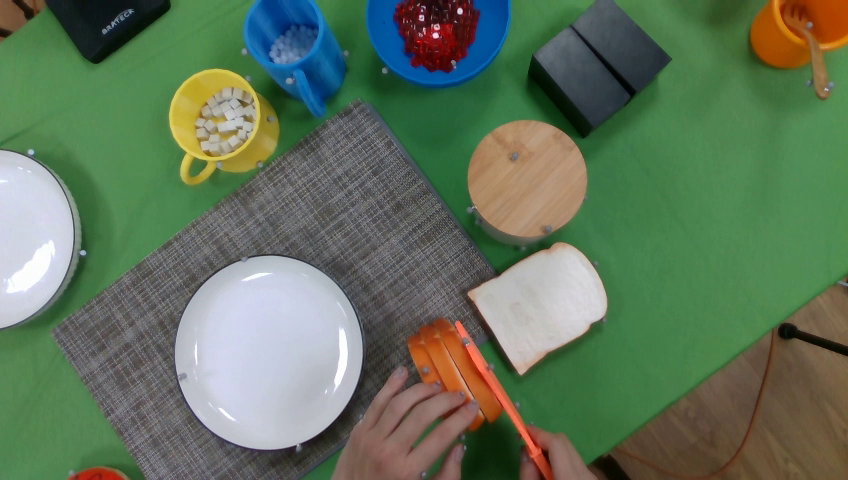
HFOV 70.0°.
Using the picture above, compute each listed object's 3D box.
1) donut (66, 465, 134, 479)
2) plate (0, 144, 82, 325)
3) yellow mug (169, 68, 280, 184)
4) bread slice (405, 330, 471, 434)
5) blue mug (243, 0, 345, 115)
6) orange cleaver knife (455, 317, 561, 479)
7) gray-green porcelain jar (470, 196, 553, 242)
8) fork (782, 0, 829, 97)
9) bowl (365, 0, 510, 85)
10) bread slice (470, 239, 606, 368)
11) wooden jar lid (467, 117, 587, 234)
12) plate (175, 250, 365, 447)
[{"bbox_3d":[-0.357,0.297,0.665,0.099,0.048,0.099,0,85,2],"label":"donut"},{"bbox_3d":[-0.490,-0.005,0.698,0.207,0.039,0.207,0,86,4],"label":"plate"},{"bbox_3d":[-0.228,-0.119,0.674,0.100,0.064,0.131,32,90,7],"label":"yellow mug"},{"bbox_3d":[0.013,0.139,0.606,0.018,0.134,0.106,-31,82,-2],"label":"bread slice"},{"bbox_3d":[-0.132,-0.192,0.653,0.082,0.106,0.116,-17,85,3],"label":"blue mug"},{"bbox_3d":[0.086,0.165,0.584,0.012,0.076,0.212,-31,107,3],"label":"orange cleaver knife"},{"bbox_3d":[0.099,-0.053,0.616,0.106,0.127,0.105,0,85,4],"label":"gray-green porcelain jar"},{"bbox_3d":[0.376,-0.195,0.594,0.028,0.019,0.206,25,44,-1],"label":"fork"},{"bbox_3d":[0.016,-0.232,0.658,0.151,0.077,0.151,0,86,4],"label":"bowl"},{"bbox_3d":[0.132,0.064,0.664,0.131,0.019,0.104,-33,79,12],"label":"bread slice"},{"bbox_3d":[0.093,-0.058,0.554,0.108,0.021,0.108,0,86,2],"label":"wooden jar lid"},{"bbox_3d":[-0.164,0.116,0.663,0.209,0.038,0.208,0,86,5],"label":"plate"}]
